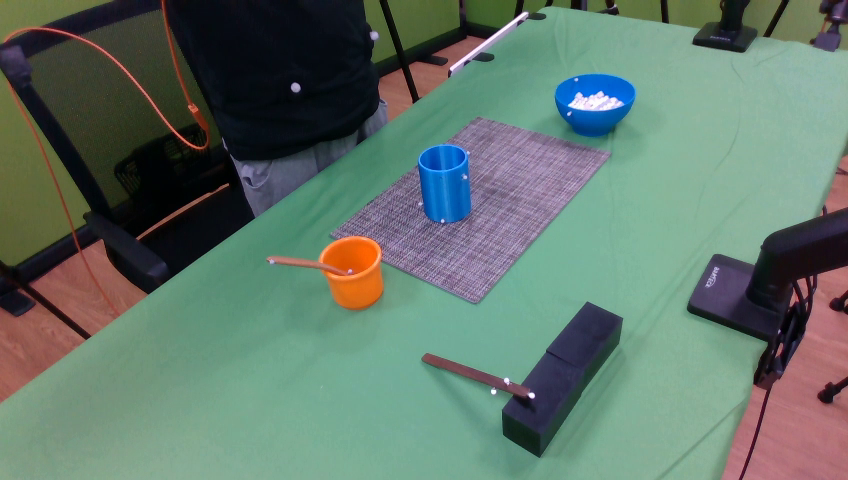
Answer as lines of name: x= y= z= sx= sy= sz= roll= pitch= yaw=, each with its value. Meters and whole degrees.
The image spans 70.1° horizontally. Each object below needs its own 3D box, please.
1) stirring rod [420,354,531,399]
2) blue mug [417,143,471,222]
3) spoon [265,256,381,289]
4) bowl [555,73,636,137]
stirring rod: x=0.058 y=0.164 z=0.738 sx=0.174 sy=0.006 sz=0.014 roll=8 pitch=42 yaw=46
blue mug: x=0.031 y=-0.104 z=1.014 sx=0.082 sy=0.106 sz=0.115 roll=-14 pitch=41 yaw=-7
spoon: x=-0.136 y=0.041 z=0.842 sx=0.021 sy=0.195 sz=0.041 roll=-55 pitch=47 yaw=13
bowl: x=0.328 y=-0.253 z=1.172 sx=0.151 sy=0.077 sz=0.150 roll=-4 pitch=41 yaw=4
